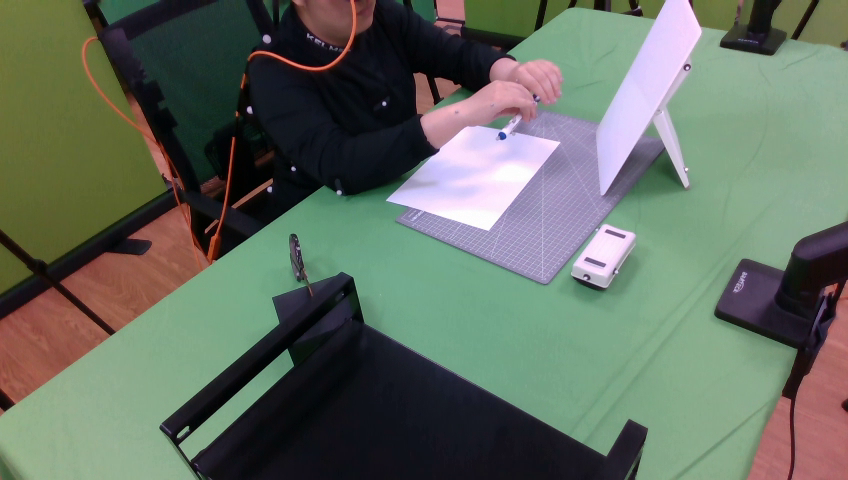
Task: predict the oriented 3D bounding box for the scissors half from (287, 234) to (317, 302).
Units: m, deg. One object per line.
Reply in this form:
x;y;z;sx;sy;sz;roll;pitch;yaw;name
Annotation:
-0.179;0.040;0.885;0.013;0.040;0.173;-11;36;-21;scissors half

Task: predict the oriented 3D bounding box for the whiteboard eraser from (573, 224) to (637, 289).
0.267;0.025;0.891;0.055;0.042;0.113;19;47;31;whiteboard eraser

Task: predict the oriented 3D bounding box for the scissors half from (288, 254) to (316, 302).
-0.178;0.058;0.894;0.013;0.040;0.174;-15;20;-18;scissors half

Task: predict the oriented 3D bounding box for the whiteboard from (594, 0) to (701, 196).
0.420;-0.227;1.010;0.144;0.305;0.216;18;42;-2;whiteboard

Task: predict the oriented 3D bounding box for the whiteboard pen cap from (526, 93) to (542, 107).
0.198;-0.251;1.093;0.018;0.018;0.033;22;49;30;whiteboard pen cap

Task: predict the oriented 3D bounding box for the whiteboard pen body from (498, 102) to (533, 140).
0.167;-0.215;1.060;0.017;0.017;0.141;18;48;27;whiteboard pen body
